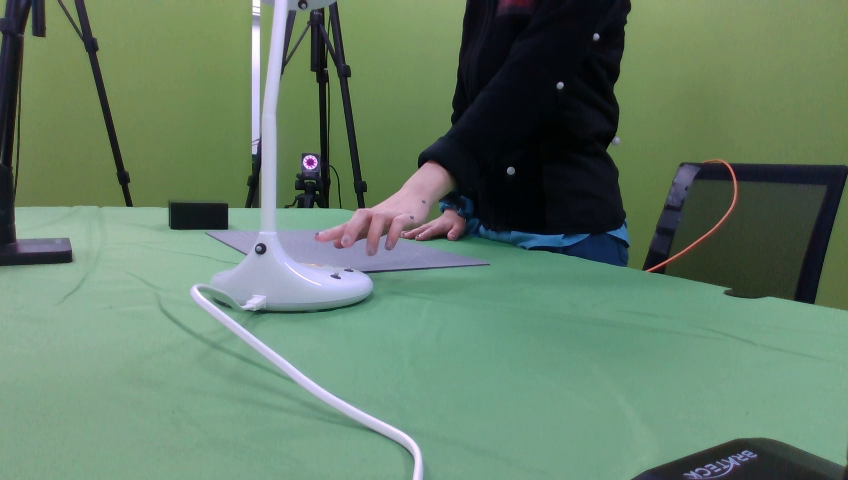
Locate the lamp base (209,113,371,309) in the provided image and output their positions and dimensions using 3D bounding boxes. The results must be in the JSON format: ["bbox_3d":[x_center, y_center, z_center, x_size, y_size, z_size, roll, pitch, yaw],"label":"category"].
[{"bbox_3d":[-0.133,-0.032,0.594,0.160,0.180,0.179,2,10,3],"label":"lamp base"}]

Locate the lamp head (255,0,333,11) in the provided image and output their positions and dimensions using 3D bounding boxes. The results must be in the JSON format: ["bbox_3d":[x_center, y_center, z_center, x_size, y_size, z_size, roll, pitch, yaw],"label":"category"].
[{"bbox_3d":[-0.141,-0.318,0.630,0.113,0.112,0.123,1,-32,-9],"label":"lamp head"}]
